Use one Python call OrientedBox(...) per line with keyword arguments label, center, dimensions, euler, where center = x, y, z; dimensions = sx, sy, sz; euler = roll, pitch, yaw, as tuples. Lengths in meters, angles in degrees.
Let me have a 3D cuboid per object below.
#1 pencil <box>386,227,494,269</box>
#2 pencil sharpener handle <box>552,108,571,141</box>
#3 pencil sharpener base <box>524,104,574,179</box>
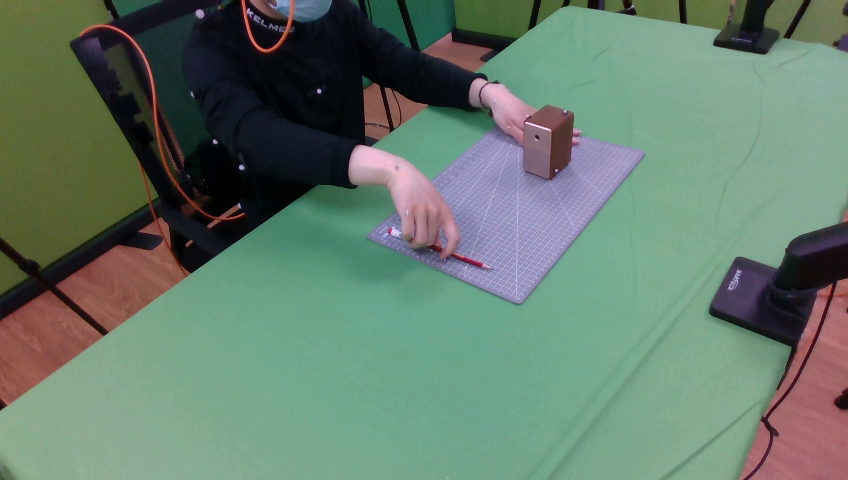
OrientedBox(label="pencil", center=(0.022, 0.014, 0.949), dimensions=(0.193, 0.012, 0.012), euler=(20, 47, 23))
OrientedBox(label="pencil sharpener handle", center=(0.254, -0.212, 1.091), dimensions=(0.035, 0.068, 0.031), euler=(27, 51, 33))
OrientedBox(label="pencil sharpener base", center=(0.222, -0.176, 1.071), dimensions=(0.061, 0.107, 0.077), euler=(26, 50, 33))
